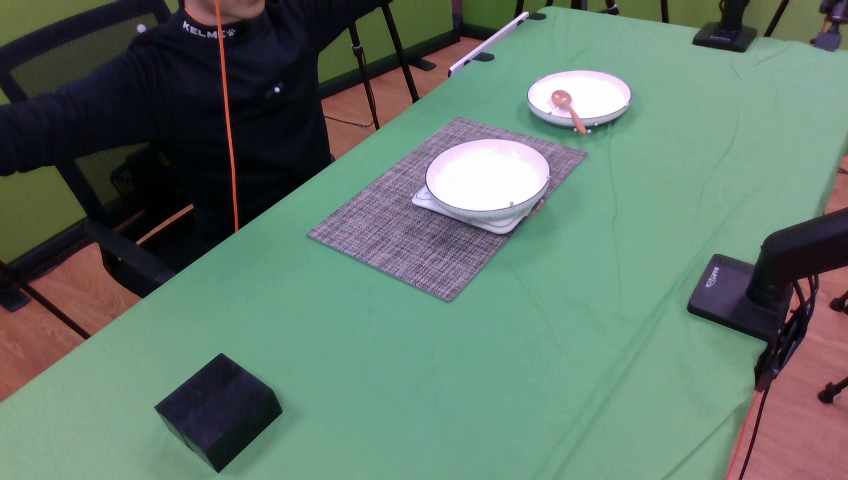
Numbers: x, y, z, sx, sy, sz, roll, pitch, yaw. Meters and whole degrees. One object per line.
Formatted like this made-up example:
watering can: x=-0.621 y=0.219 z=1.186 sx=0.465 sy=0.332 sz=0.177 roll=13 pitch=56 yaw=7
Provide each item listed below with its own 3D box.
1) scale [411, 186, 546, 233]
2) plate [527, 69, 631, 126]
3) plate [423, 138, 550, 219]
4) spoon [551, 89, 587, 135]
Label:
scale: x=0.092 y=-0.083 z=1.039 sx=0.199 sy=0.032 sz=0.149 roll=22 pitch=48 yaw=30
plate: x=0.317 y=-0.289 z=1.246 sx=0.209 sy=0.038 sz=0.208 roll=-4 pitch=41 yaw=4
plate: x=0.104 y=-0.099 z=1.005 sx=0.207 sy=0.039 sz=0.206 roll=-4 pitch=41 yaw=4
spoon: x=0.286 y=-0.253 z=1.184 sx=0.041 sy=0.022 sz=0.192 roll=-7 pitch=33 yaw=1
